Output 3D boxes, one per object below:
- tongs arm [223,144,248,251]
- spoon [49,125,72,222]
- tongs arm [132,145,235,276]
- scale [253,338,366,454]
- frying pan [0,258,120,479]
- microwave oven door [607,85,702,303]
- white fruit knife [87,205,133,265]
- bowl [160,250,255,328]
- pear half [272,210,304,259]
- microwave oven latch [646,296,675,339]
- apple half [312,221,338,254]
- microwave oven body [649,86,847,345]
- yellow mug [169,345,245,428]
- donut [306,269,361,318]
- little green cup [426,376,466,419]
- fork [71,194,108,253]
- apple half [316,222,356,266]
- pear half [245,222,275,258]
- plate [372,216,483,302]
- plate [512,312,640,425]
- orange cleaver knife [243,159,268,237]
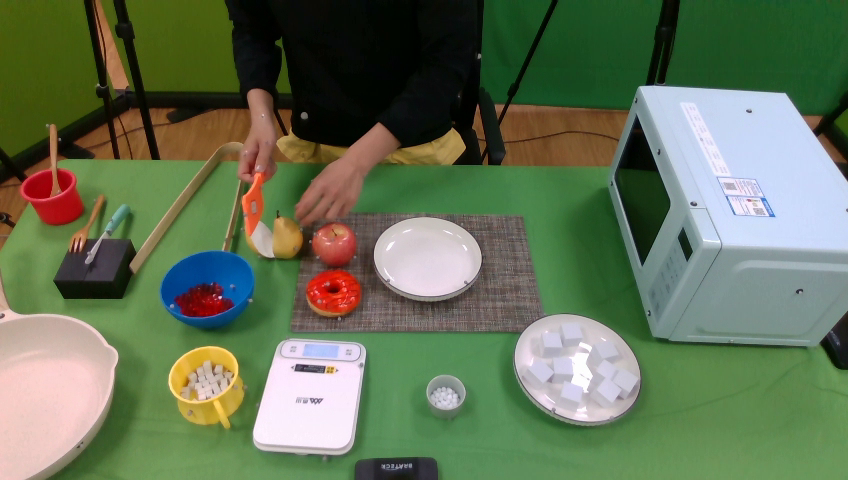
[{"bbox_3d":[-0.398,-0.072,1.232,0.051,0.027,0.382,-4,45,1],"label":"tongs arm"},{"bbox_3d":[-0.718,-0.131,1.189,0.041,0.021,0.193,-4,90,-7],"label":"spoon"},{"bbox_3d":[-0.484,-0.074,1.237,0.028,0.028,0.385,4,45,14],"label":"tongs arm"},{"bbox_3d":[-0.175,0.236,0.951,0.149,0.032,0.199,4,45,-1],"label":"scale"},{"bbox_3d":[-0.647,0.164,0.936,0.307,0.103,0.485,-19,58,-22],"label":"frying pan"},{"bbox_3d":[0.423,-0.094,1.140,0.039,0.245,0.353,2,46,-1],"label":"microwave oven door"},{"bbox_3d":[-0.584,-0.013,1.129,0.016,0.027,0.206,-1,32,-4],"label":"white fruit knife"},{"bbox_3d":[-0.362,0.098,1.040,0.151,0.077,0.150,2,45,-2],"label":"bowl"},{"bbox_3d":[-0.256,-0.016,1.134,0.056,0.110,0.076,-4,50,-5],"label":"pear half"},{"bbox_3d":[0.412,0.134,1.061,0.030,0.029,0.078,4,45,1],"label":"microwave oven latch"},{"bbox_3d":[-0.190,-0.001,1.144,0.032,0.081,0.081,27,50,18],"label":"apple half"},{"bbox_3d":[0.567,-0.053,1.118,0.326,0.261,0.439,2,45,-1],"label":"microwave oven body"},{"bbox_3d":[-0.322,0.230,0.922,0.100,0.064,0.130,-24,53,-25],"label":"yellow mug"},{"bbox_3d":[-0.160,0.094,1.075,0.099,0.048,0.098,3,46,-3],"label":"donut"},{"bbox_3d":[0.033,0.248,0.950,0.061,0.039,0.061,2,46,-2],"label":"little green cup"},{"bbox_3d":[-0.634,-0.036,1.158,0.028,0.019,0.206,-7,31,-8],"label":"fork"},{"bbox_3d":[-0.157,0.015,1.132,0.053,0.075,0.080,28,47,18],"label":"apple half"},{"bbox_3d":[-0.315,0.001,1.142,0.031,0.088,0.070,-27,47,15],"label":"pear half"},{"bbox_3d":[0.006,0.038,1.145,0.209,0.038,0.208,2,46,-2],"label":"plate"},{"bbox_3d":[0.246,0.213,0.999,0.208,0.039,0.206,2,46,-2],"label":"plate"},{"bbox_3d":[-0.298,-0.079,1.080,0.012,0.077,0.210,-3,31,-2],"label":"orange cleaver knife"}]
